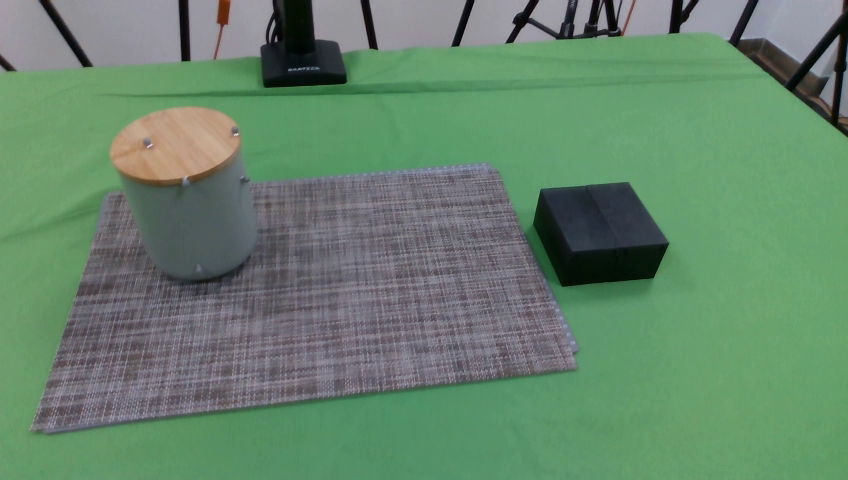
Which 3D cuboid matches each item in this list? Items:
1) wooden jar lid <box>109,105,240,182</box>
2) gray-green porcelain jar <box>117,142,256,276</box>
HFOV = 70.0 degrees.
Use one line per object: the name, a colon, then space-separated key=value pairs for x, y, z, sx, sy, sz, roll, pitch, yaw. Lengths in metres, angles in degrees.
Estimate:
wooden jar lid: x=-0.217 y=-0.082 z=0.534 sx=0.108 sy=0.021 sz=0.107 roll=3 pitch=45 yaw=-3
gray-green porcelain jar: x=-0.220 y=-0.037 z=0.577 sx=0.106 sy=0.127 sz=0.105 roll=2 pitch=43 yaw=-1
